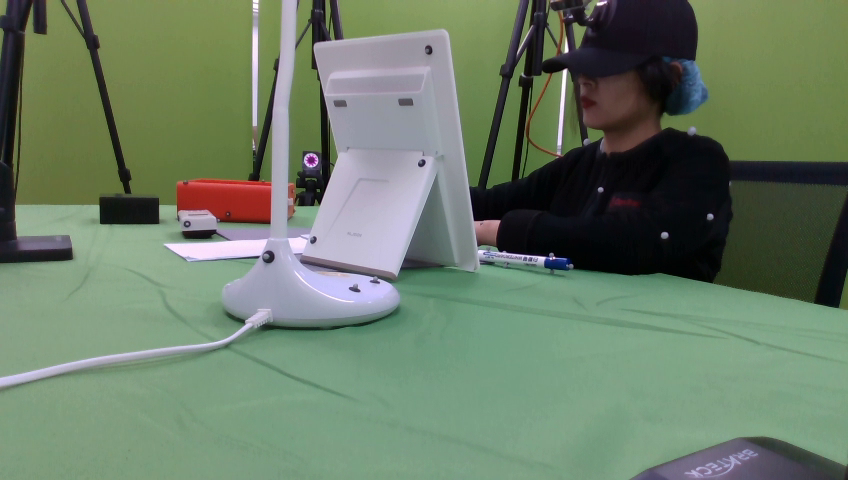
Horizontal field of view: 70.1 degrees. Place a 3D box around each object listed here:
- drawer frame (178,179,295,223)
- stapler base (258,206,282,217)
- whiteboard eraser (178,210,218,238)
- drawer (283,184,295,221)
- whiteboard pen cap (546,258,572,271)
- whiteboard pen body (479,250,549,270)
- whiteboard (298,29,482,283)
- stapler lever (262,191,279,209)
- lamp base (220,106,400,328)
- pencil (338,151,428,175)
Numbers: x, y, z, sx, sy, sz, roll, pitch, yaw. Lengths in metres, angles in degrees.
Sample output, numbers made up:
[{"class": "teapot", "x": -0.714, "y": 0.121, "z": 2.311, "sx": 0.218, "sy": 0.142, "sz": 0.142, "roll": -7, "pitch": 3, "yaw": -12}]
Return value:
[{"class": "drawer frame", "x": -0.397, "y": -0.088, "z": 1.315, "sx": 0.214, "sy": 0.082, "sz": 0.201, "roll": 1, "pitch": 8, "yaw": -7}, {"class": "stapler base", "x": -0.331, "y": -0.064, "z": 1.305, "sx": 0.041, "sy": 0.024, "sz": 0.130, "roll": 9, "pitch": -2, "yaw": -9}, {"class": "whiteboard eraser", "x": -0.380, "y": -0.027, "z": 1.014, "sx": 0.056, "sy": 0.042, "sz": 0.112, "roll": 0, "pitch": 8, "yaw": -25}, {"class": "drawer", "x": -0.394, "y": -0.086, "z": 1.317, "sx": 0.212, "sy": 0.073, "sz": 0.194, "roll": 1, "pitch": 8, "yaw": -7}, {"class": "whiteboard pen cap", "x": 0.175, "y": 0.032, "z": 0.790, "sx": 0.033, "sy": 0.018, "sz": 0.018, "roll": 3, "pitch": 7, "yaw": 37}, {"class": "whiteboard pen body", "x": 0.130, "y": 0.028, "z": 0.827, "sx": 0.140, "sy": 0.017, "sz": 0.017, "roll": 7, "pitch": 9, "yaw": 38}, {"class": "whiteboard", "x": -0.075, "y": -0.082, "z": 0.742, "sx": 0.216, "sy": 0.305, "sz": 0.144, "roll": 9, "pitch": 29, "yaw": 37}, {"class": "stapler lever", "x": -0.329, "y": -0.086, "z": 1.306, "sx": 0.027, "sy": 0.040, "sz": 0.118, "roll": 9, "pitch": 3, "yaw": -9}, {"class": "lamp base", "x": -0.101, "y": -0.023, "z": 0.531, "sx": 0.160, "sy": 0.180, "sz": 0.179, "roll": 4, "pitch": 10, "yaw": 10}, {"class": "pencil", "x": -0.077, "y": -0.146, "z": 1.159, "sx": 0.195, "sy": 0.012, "sz": 0.012, "roll": -18, "pitch": 16, "yaw": -27}]
